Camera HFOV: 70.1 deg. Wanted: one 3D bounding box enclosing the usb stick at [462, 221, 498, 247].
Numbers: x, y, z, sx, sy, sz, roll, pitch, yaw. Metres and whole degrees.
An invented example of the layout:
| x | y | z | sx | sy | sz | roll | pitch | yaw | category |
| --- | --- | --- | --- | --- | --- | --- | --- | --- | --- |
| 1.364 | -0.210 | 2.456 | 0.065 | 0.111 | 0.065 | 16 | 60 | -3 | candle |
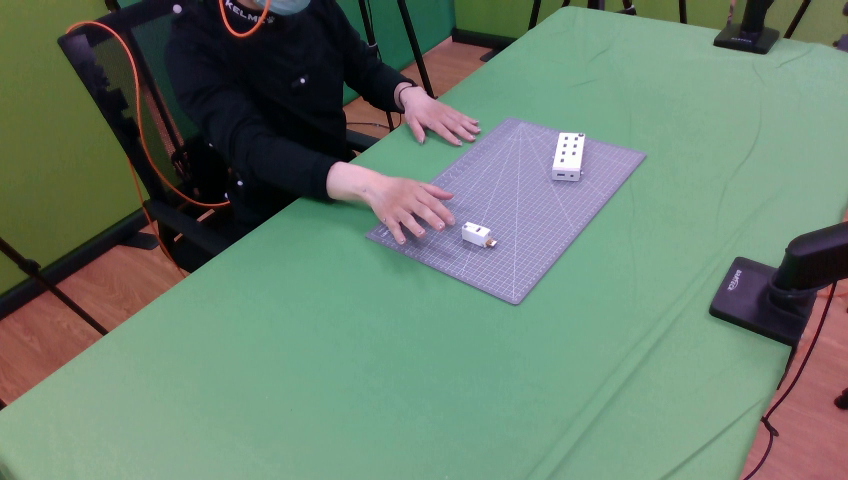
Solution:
| x | y | z | sx | sy | sz | roll | pitch | yaw | category |
| --- | --- | --- | --- | --- | --- | --- | --- | --- | --- |
| 0.089 | -0.007 | 0.956 | 0.059 | 0.027 | 0.021 | 25 | 49 | 28 | usb stick |

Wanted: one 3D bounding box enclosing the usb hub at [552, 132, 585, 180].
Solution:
| x | y | z | sx | sy | sz | roll | pitch | yaw | category |
| --- | --- | --- | --- | --- | --- | --- | --- | --- | --- |
| 0.266 | -0.154 | 1.104 | 0.049 | 0.025 | 0.125 | 6 | 43 | 15 | usb hub |
